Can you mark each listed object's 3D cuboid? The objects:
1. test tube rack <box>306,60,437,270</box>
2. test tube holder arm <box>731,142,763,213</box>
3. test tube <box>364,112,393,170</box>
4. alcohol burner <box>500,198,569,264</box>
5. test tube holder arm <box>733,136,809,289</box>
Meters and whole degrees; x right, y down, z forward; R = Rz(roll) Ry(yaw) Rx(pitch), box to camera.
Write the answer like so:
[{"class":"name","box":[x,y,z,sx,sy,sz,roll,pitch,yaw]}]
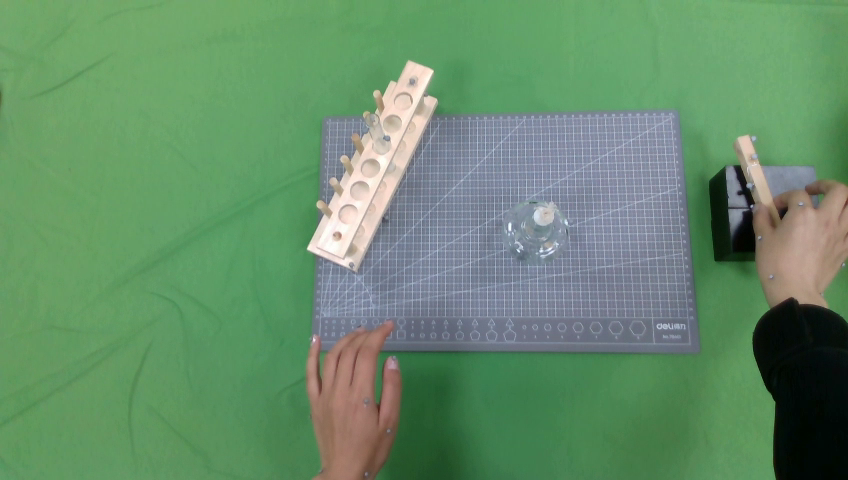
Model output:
[{"class":"test tube rack","box":[-0.066,-0.092,0.721,0.066,0.085,0.241,24,80,9]},{"class":"test tube holder arm","box":[0.368,-0.073,0.681,0.015,0.010,0.087,-18,74,10]},{"class":"test tube","box":[-0.048,-0.106,0.672,0.017,0.151,0.017,-1,79,3]},{"class":"alcohol burner","box":[0.126,-0.015,0.677,0.078,0.119,0.077,0,76,2]},{"class":"test tube holder arm","box":[0.378,-0.032,0.663,0.015,0.013,0.177,-18,74,10]}]
